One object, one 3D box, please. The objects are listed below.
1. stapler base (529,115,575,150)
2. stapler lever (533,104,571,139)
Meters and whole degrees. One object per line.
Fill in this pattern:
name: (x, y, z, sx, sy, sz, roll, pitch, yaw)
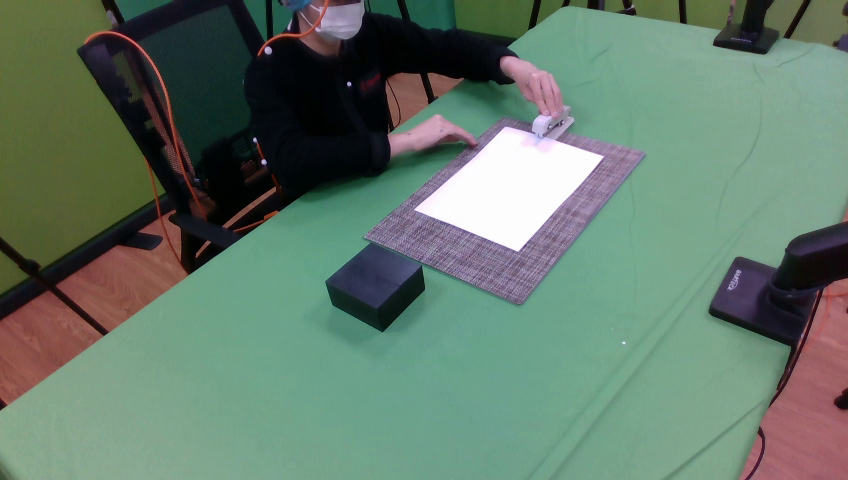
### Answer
stapler base: (0.251, -0.219, 1.185, 0.041, 0.024, 0.131, 24, 47, 28)
stapler lever: (0.249, -0.237, 1.171, 0.026, 0.040, 0.118, 24, 50, 28)
